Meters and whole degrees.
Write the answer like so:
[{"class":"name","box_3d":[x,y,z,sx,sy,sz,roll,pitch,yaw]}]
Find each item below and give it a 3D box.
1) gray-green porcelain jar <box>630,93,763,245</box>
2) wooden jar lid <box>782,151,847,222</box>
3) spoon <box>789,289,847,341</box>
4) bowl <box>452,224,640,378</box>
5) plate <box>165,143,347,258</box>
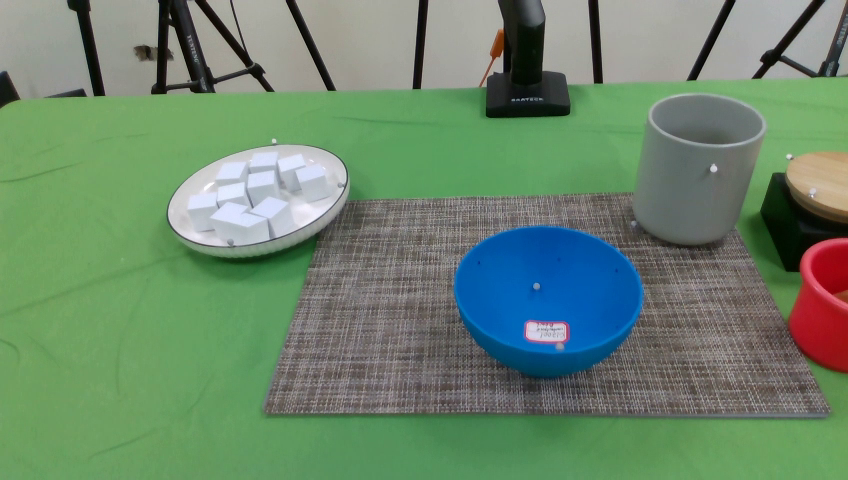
[{"class":"gray-green porcelain jar","box_3d":[0.268,-0.067,0.612,0.106,0.128,0.105,-3,40,3]},{"class":"wooden jar lid","box_3d":[0.406,-0.051,0.589,0.108,0.021,0.107,-4,39,3]},{"class":"spoon","box_3d":[0.386,0.021,0.484,0.022,0.194,0.041,34,26,-24]},{"class":"bowl","box_3d":[0.100,0.063,0.512,0.151,0.077,0.150,-3,39,3]},{"class":"plate","box_3d":[-0.191,-0.045,0.710,0.209,0.038,0.207,-4,39,3]}]
